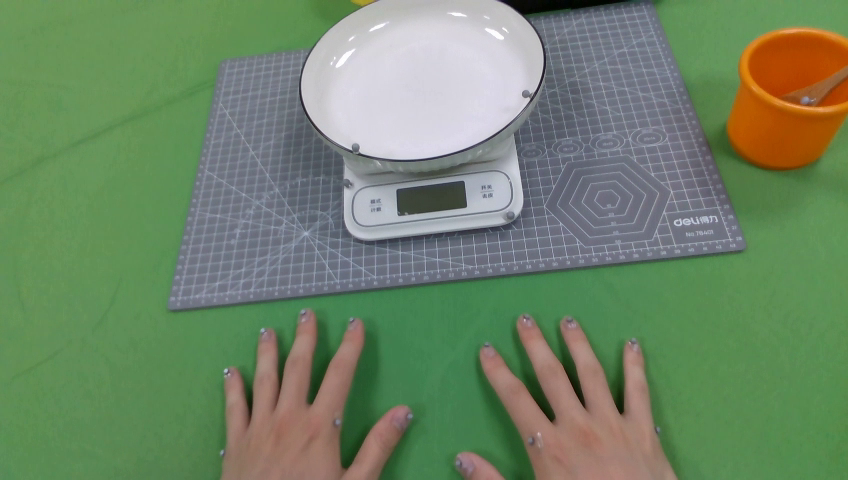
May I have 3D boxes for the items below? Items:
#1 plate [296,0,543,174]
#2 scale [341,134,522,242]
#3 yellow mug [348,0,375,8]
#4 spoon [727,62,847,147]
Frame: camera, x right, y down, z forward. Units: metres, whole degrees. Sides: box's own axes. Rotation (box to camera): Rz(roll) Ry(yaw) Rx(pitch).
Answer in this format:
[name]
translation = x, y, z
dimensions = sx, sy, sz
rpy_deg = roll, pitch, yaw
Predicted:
[plate]
translation = -0.004, -0.135, 0.520
dimensions = 0.209, 0.038, 0.207
rpy_deg = -3, 57, 6
[scale]
translation = 0.001, -0.093, 0.531
dimensions = 0.148, 0.032, 0.199
rpy_deg = -7, 57, 5
[yellow mug]
translation = -0.040, -0.304, 0.657
dimensions = 0.129, 0.064, 0.100
rpy_deg = 37, 70, 27
[spoon]
translation = 0.314, -0.126, 0.436
dimensions = 0.022, 0.194, 0.041
rpy_deg = 16, 53, -34
